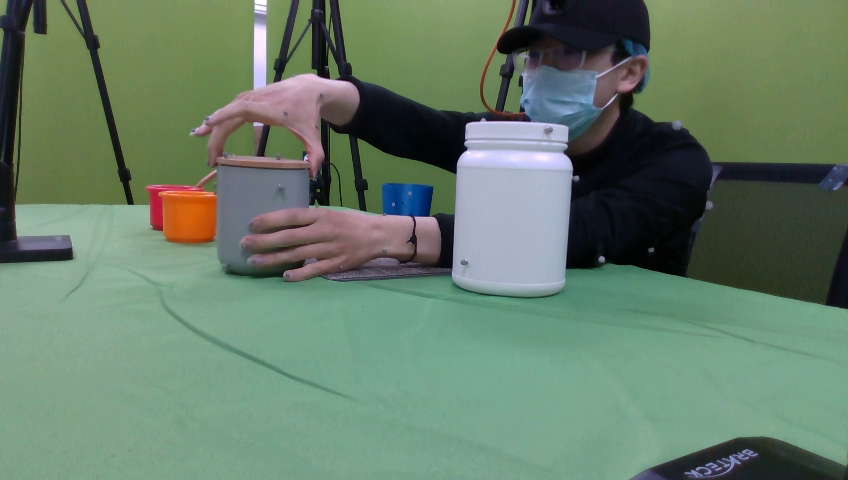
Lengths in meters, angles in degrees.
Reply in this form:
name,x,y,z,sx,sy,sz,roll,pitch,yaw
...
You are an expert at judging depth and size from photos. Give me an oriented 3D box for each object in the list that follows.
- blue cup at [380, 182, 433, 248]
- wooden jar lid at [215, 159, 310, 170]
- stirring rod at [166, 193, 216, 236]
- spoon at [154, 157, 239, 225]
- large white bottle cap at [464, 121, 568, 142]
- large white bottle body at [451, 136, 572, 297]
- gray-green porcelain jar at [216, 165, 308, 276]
name,x,y,z,sx,sy,sz,roll,pitch,yaw
blue cup,-0.029,-0.041,0.979,0.093,0.100,0.092,2,9,0
wooden jar lid,-0.191,-0.087,0.721,0.108,0.020,0.108,-1,8,0
stirring rod,-0.341,-0.066,0.967,0.176,0.006,0.014,-42,23,-9
spoon,-0.411,-0.092,1.105,0.041,0.022,0.194,13,56,51
large white bottle cap,0.103,-0.120,0.677,0.115,0.018,0.115,3,7,0
large white bottle body,0.099,-0.037,0.688,0.131,0.184,0.130,2,7,0
gray-green porcelain jar,-0.195,-0.025,0.729,0.106,0.126,0.106,3,7,0
